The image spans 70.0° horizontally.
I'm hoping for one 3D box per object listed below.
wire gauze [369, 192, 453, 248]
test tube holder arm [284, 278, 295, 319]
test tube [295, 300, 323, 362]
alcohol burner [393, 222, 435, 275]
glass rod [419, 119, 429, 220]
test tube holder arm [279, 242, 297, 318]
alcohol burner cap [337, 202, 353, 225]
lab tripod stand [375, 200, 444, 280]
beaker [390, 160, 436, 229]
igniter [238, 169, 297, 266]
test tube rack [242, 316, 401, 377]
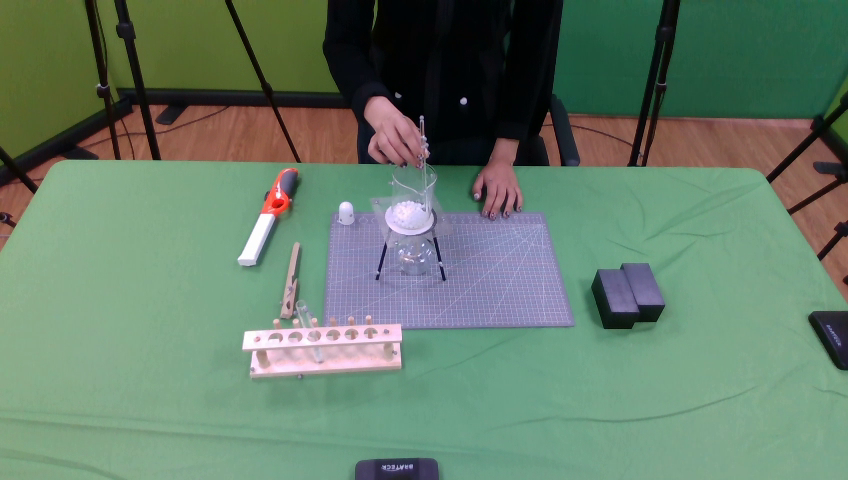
[{"bbox_3d":[-0.025,-0.041,1.065,0.122,0.011,0.124,-10,46,-18],"label":"wire gauze"},{"bbox_3d":[-0.242,0.103,1.085,0.010,0.015,0.087,26,38,-27],"label":"test tube holder arm"},{"bbox_3d":[-0.176,0.143,0.935,0.017,0.151,0.017,-2,46,2],"label":"test tube"},{"bbox_3d":[-0.018,0.009,1.123,0.078,0.119,0.077,3,47,-3],"label":"alcohol burner"},{"bbox_3d":[0.001,-0.109,0.985,0.008,0.201,0.008,-2,42,2],"label":"glass rod"},{"bbox_3d":[-0.249,0.069,1.114,0.013,0.015,0.177,26,38,-28],"label":"test tube holder arm"},{"bbox_3d":[-0.161,-0.056,1.223,0.034,0.048,0.033,2,46,-2],"label":"alcohol burner cap"},{"bbox_3d":[-0.023,0.004,1.114,0.148,0.132,0.147,4,45,-3],"label":"lab tripod stand"},{"bbox_3d":[-0.020,-0.073,1.029,0.074,0.101,0.083,-10,48,-16],"label":"beaker"},{"bbox_3d":[-0.313,-0.054,1.225,0.057,0.025,0.275,1,45,10],"label":"igniter"},{"bbox_3d":[-0.160,0.166,0.983,0.242,0.085,0.066,-2,46,-6],"label":"test tube rack"}]
